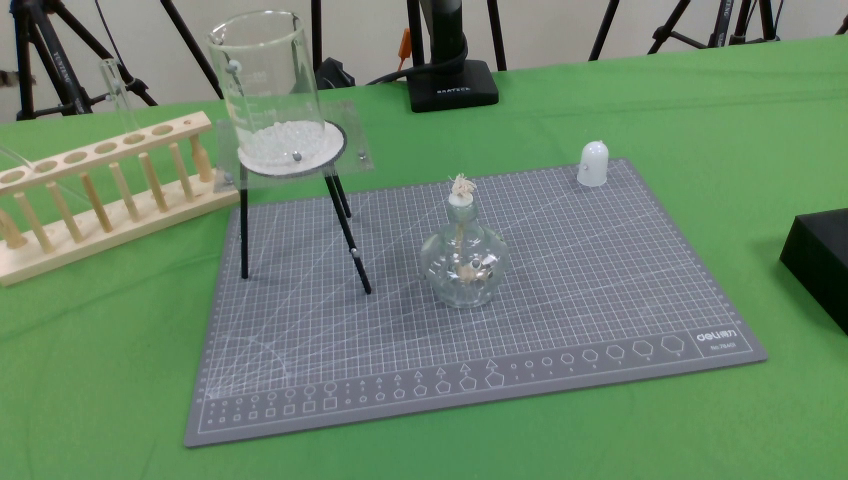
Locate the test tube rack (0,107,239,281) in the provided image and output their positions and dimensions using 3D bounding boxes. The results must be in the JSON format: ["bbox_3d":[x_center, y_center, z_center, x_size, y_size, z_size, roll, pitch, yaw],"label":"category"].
[{"bbox_3d":[-0.330,-0.053,0.631,0.243,0.086,0.066,-24,44,-21],"label":"test tube rack"}]

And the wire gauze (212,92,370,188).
[{"bbox_3d":[-0.114,-0.085,0.504,0.125,0.011,0.120,-14,39,-5],"label":"wire gauze"}]

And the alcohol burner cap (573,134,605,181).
[{"bbox_3d":[0.180,-0.091,0.655,0.034,0.048,0.033,-2,41,3],"label":"alcohol burner cap"}]

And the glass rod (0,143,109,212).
[{"bbox_3d":[-0.391,-0.079,0.581,0.008,0.202,0.008,-18,52,24],"label":"glass rod"}]

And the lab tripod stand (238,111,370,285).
[{"bbox_3d":[-0.109,-0.036,0.547,0.148,0.133,0.147,-3,43,3],"label":"lab tripod stand"}]

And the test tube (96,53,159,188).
[{"bbox_3d":[-0.305,-0.119,0.628,0.017,0.151,0.017,-2,38,2],"label":"test tube"}]

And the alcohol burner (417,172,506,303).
[{"bbox_3d":[0.031,-0.005,0.514,0.078,0.120,0.077,-3,39,3],"label":"alcohol burner"}]

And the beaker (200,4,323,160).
[{"bbox_3d":[-0.123,-0.120,0.471,0.083,0.101,0.073,13,43,21],"label":"beaker"}]
